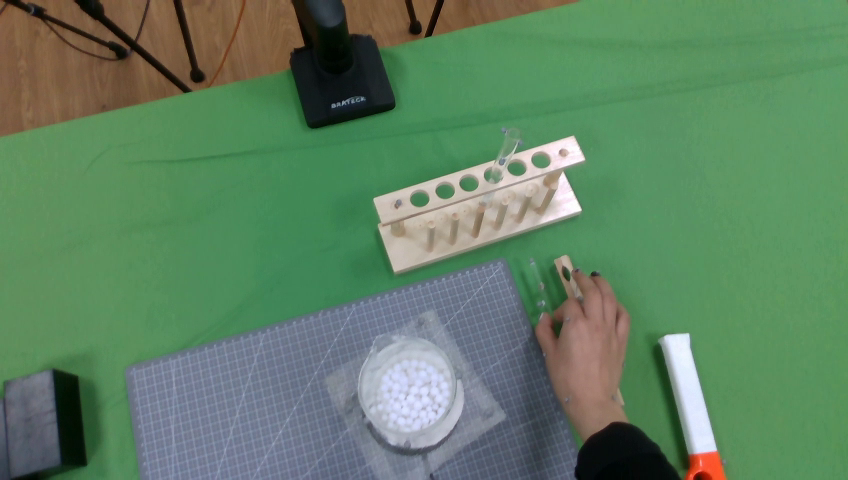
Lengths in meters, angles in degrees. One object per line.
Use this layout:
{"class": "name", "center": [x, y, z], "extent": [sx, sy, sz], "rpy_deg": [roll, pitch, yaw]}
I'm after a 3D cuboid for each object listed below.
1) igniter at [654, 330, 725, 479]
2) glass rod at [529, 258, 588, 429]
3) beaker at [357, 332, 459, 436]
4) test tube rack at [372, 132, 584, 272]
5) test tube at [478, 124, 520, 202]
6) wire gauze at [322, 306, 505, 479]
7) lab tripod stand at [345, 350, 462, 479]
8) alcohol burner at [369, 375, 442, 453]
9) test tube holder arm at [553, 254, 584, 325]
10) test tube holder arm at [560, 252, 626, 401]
{"class": "igniter", "center": [0.292, 0.232, 0.640], "extent": [0.057, 0.025, 0.274], "rpy_deg": [-2, 69, -12]}
{"class": "glass rod", "center": [0.151, 0.114, 0.684], "extent": [0.008, 0.008, 0.198], "rpy_deg": [-14, 76, -6]}
{"class": "beaker", "center": [-0.013, 0.120, 0.496], "extent": [0.074, 0.101, 0.083], "rpy_deg": [-31, 72, -9]}
{"class": "test tube rack", "center": [0.067, -0.043, 0.708], "extent": [0.242, 0.086, 0.066], "rpy_deg": [-18, 70, -7]}
{"class": "test tube", "center": [0.081, -0.080, 0.670], "extent": [0.017, 0.151, 0.017], "rpy_deg": [2, 67, -5]}
{"class": "wire gauze", "center": [-0.011, 0.139, 0.540], "extent": [0.121, 0.011, 0.124], "rpy_deg": [-32, 74, -8]}
{"class": "lab tripod stand", "center": [-0.015, 0.166, 0.600], "extent": [0.148, 0.132, 0.147], "rpy_deg": [0, 70, 1]}
{"class": "alcohol burner", "center": [-0.020, 0.173, 0.609], "extent": [0.078, 0.120, 0.077], "rpy_deg": [0, 68, 1]}
{"class": "test tube holder arm", "center": [0.173, 0.058, 0.709], "extent": [0.010, 0.015, 0.087], "rpy_deg": [-28, 69, 26]}
{"class": "test tube holder arm", "center": [0.191, 0.096, 0.692], "extent": [0.013, 0.015, 0.177], "rpy_deg": [-29, 69, 25]}
